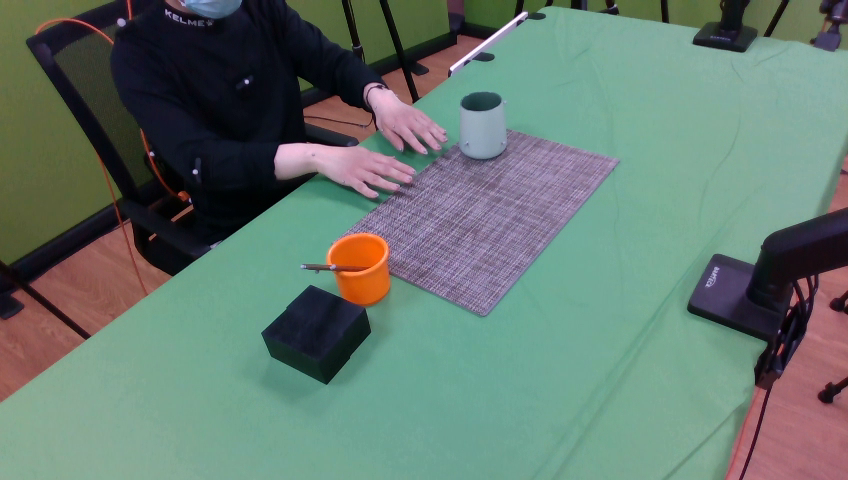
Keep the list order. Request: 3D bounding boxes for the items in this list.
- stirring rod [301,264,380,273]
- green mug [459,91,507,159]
[{"bbox_3d":[-0.113,0.041,0.851,0.014,0.006,0.177,14,2,28],"label":"stirring rod"},{"bbox_3d":[0.116,-0.225,1.144,0.092,0.105,0.125,13,45,23],"label":"green mug"}]
